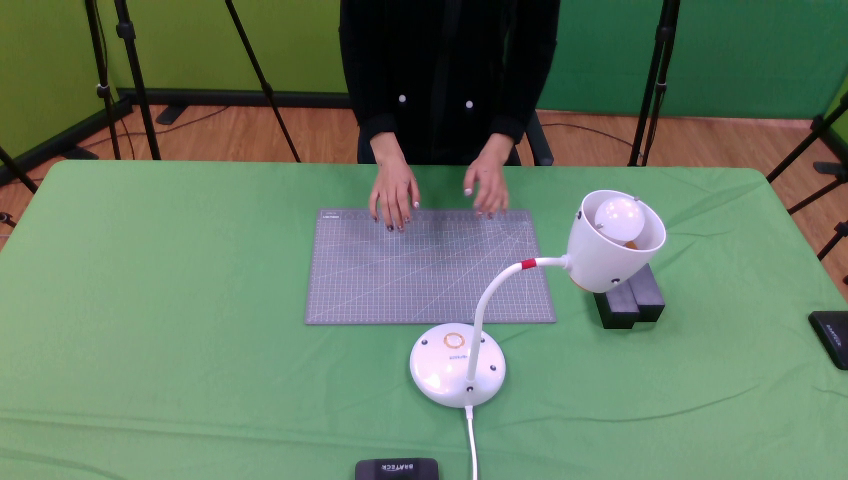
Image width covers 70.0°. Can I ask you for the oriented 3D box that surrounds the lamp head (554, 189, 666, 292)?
[{"bbox_3d":[0.234,0.012,0.796,0.113,0.123,0.111,13,43,-13],"label":"lamp head"}]

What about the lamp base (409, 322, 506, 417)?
[{"bbox_3d":[0.063,0.160,0.941,0.161,0.181,0.178,-10,51,-13],"label":"lamp base"}]

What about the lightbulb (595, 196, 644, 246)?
[{"bbox_3d":[0.244,-0.008,0.784,0.059,0.108,0.059,8,40,-7],"label":"lightbulb"}]
